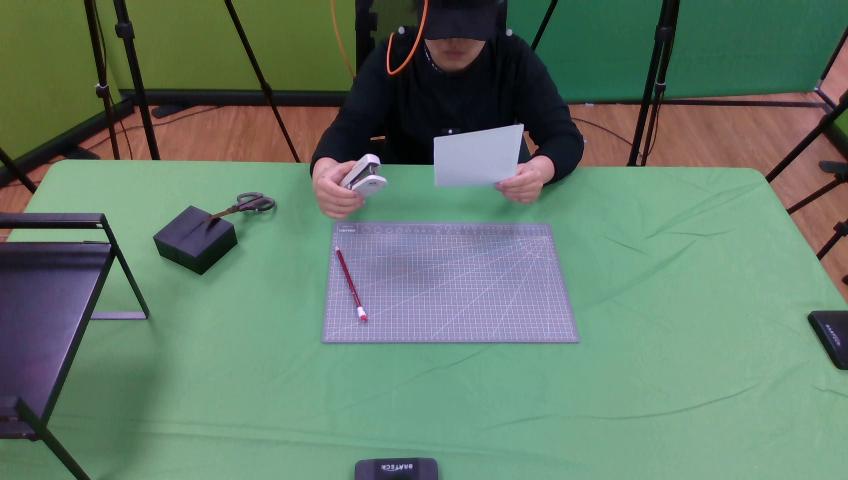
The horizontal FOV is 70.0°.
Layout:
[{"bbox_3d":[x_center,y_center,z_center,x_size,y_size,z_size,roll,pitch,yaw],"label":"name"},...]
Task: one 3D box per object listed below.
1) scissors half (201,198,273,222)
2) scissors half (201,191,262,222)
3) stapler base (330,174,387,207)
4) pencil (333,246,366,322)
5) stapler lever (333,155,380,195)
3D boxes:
[{"bbox_3d":[-0.365,-0.056,1.192,0.040,0.013,0.175,38,32,22],"label":"scissors half"},{"bbox_3d":[-0.381,-0.066,1.198,0.040,0.013,0.175,24,28,10],"label":"scissors half"},{"bbox_3d":[-0.119,-0.094,1.090,0.041,0.130,0.024,13,62,-40],"label":"stapler base"},{"bbox_3d":[-0.140,0.077,1.117,0.012,0.012,0.192,-14,48,-17],"label":"pencil"},{"bbox_3d":[-0.123,-0.117,1.098,0.027,0.118,0.040,13,63,-40],"label":"stapler lever"}]
